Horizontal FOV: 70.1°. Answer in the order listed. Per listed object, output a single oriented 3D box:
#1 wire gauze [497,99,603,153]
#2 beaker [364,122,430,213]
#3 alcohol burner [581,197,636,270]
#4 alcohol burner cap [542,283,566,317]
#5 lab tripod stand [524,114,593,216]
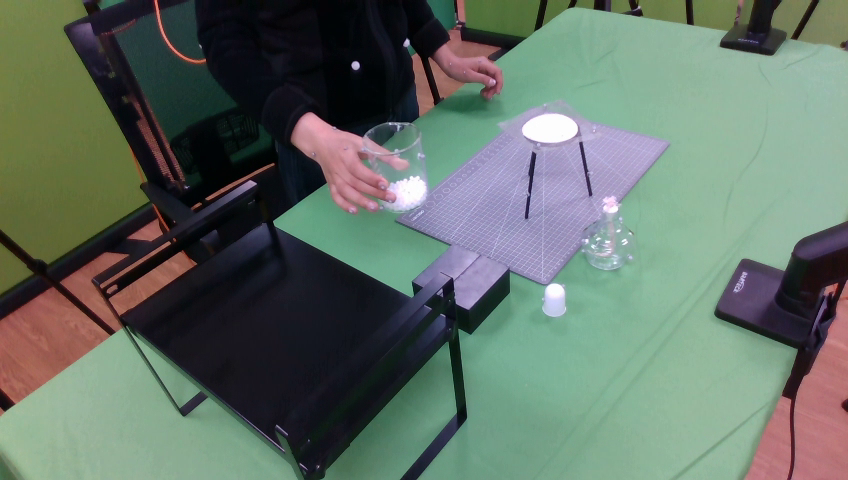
[{"bbox_3d":[0.199,-0.181,0.962,0.125,0.011,0.120,-20,43,-13],"label":"wire gauze"},{"bbox_3d":[-0.032,-0.094,0.787,0.074,0.101,0.083,-1,42,10],"label":"beaker"},{"bbox_3d":[0.270,-0.015,0.882,0.078,0.119,0.077,-5,42,5],"label":"alcohol burner"},{"bbox_3d":[0.181,0.080,0.840,0.034,0.048,0.033,-3,41,3],"label":"alcohol burner cap"},{"bbox_3d":[0.210,-0.127,1.001,0.148,0.132,0.147,-4,43,4],"label":"lab tripod stand"}]
